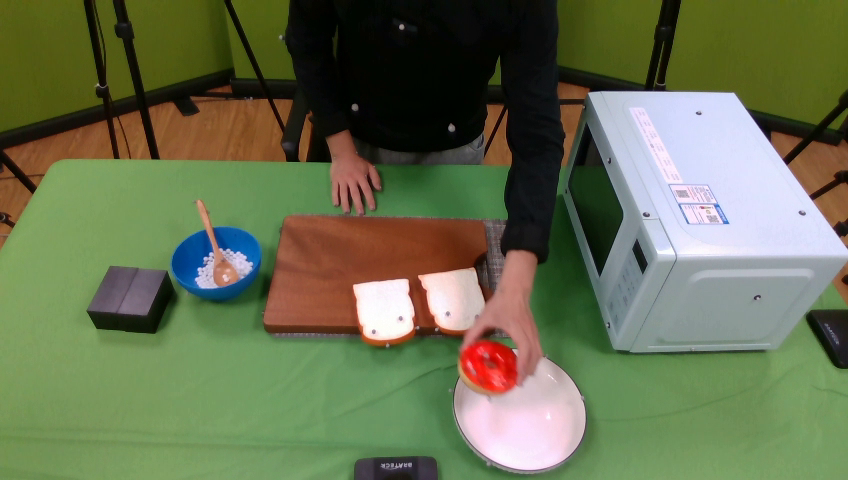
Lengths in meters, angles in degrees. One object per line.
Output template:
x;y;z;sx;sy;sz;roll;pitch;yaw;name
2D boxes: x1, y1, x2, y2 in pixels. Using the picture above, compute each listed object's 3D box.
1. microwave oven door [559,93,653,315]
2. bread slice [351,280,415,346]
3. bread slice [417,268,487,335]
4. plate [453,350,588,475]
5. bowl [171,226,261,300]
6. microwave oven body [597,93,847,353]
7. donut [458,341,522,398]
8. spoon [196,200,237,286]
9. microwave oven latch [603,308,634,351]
0.327;-0.074;1.123;0.039;0.245;0.353;-1;46;-5;microwave oven door
-0.067;0.123;1.041;0.105;0.019;0.130;-7;47;-9;bread slice
0.055;0.108;1.063;0.107;0.018;0.133;-9;48;-12;bread slice
0.147;0.268;0.943;0.208;0.039;0.206;2;45;-2;plate
-0.363;0.054;1.081;0.151;0.077;0.150;2;45;-2;bowl
0.475;-0.041;1.109;0.326;0.261;0.438;-1;45;-4;microwave oven body
0.099;0.194;0.908;0.099;0.048;0.098;8;37;-6;donut
-0.378;0.003;1.086;0.042;0.022;0.192;-15;67;-24;spoon
0.333;0.153;1.044;0.030;0.029;0.078;0;45;-3;microwave oven latch
